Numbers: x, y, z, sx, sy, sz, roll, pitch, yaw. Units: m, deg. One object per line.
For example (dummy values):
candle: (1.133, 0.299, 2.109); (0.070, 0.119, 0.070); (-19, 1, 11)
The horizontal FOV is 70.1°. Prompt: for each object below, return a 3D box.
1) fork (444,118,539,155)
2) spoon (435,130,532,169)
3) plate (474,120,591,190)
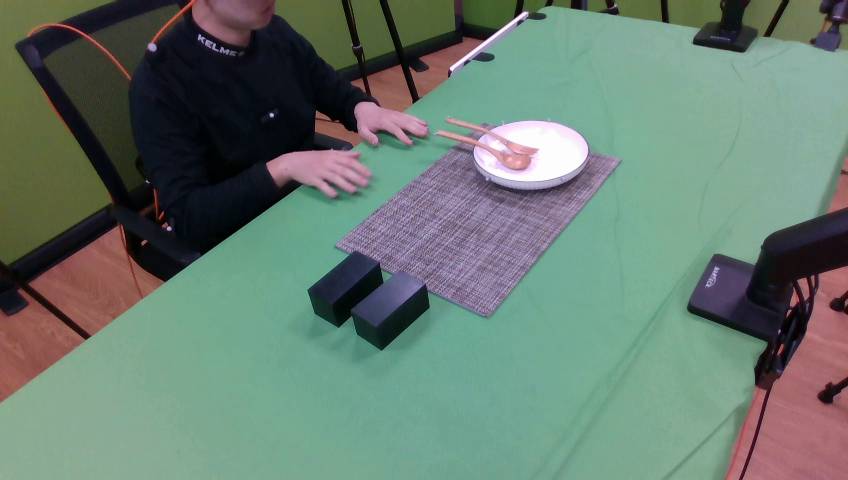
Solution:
fork: (0.123, -0.198, 1.143); (0.206, 0.019, 0.028); (28, 53, 24)
spoon: (0.107, -0.171, 1.112); (0.193, 0.022, 0.041); (25, 52, 15)
plate: (0.196, -0.151, 1.099); (0.207, 0.039, 0.206); (-4, 40, 4)
